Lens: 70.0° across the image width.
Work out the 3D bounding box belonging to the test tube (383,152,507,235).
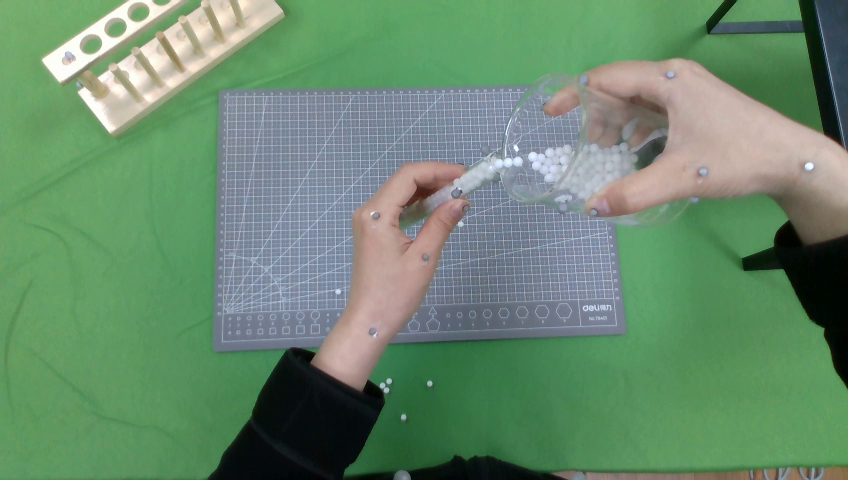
[{"bbox_3d":[0.009,-0.029,0.436,0.017,0.150,0.017,10,70,-29],"label":"test tube"}]

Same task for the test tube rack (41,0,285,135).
[{"bbox_3d":[-0.279,-0.227,0.672,0.242,0.085,0.066,-39,82,-10],"label":"test tube rack"}]

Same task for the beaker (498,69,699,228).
[{"bbox_3d":[0.105,-0.048,0.365,0.101,0.084,0.073,11,73,-28],"label":"beaker"}]
